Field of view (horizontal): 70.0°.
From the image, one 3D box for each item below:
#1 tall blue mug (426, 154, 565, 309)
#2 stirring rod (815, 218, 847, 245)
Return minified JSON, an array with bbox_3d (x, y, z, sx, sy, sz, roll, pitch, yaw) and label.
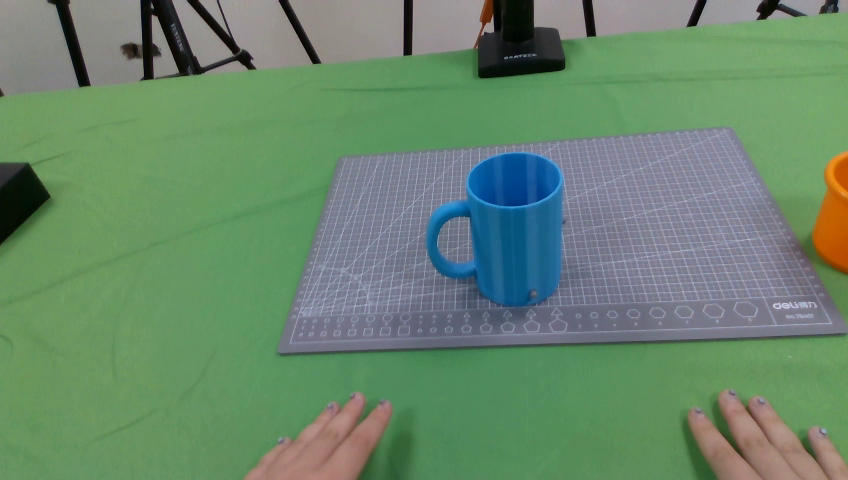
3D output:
[{"bbox_3d":[0.064,0.001,0.501,0.107,0.109,0.077,-29,45,-21],"label":"tall blue mug"},{"bbox_3d":[0.393,-0.041,0.467,0.176,0.006,0.014,-37,27,38],"label":"stirring rod"}]
